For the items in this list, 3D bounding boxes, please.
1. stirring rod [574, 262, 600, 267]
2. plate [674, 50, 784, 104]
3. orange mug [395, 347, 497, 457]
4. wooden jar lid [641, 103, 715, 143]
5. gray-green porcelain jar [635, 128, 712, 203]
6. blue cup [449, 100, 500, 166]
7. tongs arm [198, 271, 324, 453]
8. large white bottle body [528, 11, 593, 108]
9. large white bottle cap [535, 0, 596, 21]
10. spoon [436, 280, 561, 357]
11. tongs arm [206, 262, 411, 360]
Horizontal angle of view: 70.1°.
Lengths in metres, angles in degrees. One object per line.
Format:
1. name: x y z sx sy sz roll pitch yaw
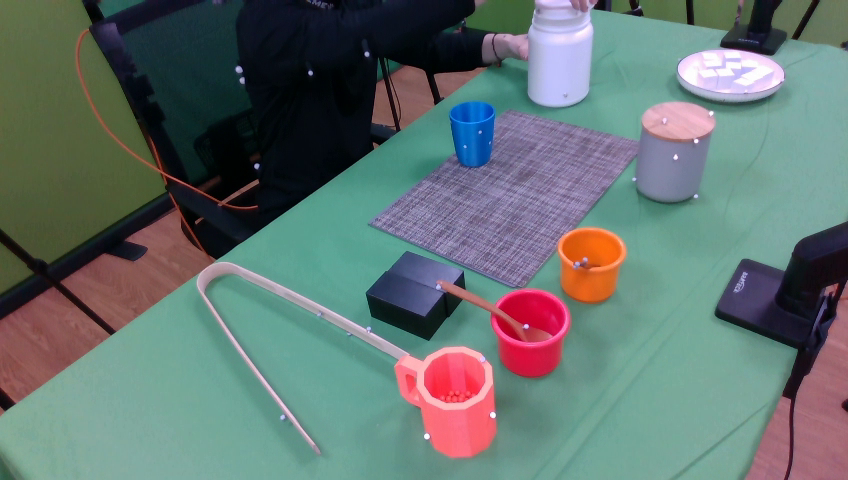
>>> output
1. stirring rod: 0.222 0.033 0.816 0.014 0.006 0.177 7 1 22
2. plate: 0.631 -0.336 1.262 0.207 0.039 0.206 -4 41 4
3. orange mug: 0.024 0.180 0.703 0.125 0.101 0.083 21 48 23
4. wooden jar lid: 0.398 -0.180 0.952 0.108 0.021 0.108 -4 43 4
5. gray-green porcelain jar: 0.404 -0.133 0.992 0.106 0.127 0.105 -4 40 4
6. blue cup: 0.092 -0.194 1.123 0.092 0.100 0.092 -3 40 3
7. tongs arm: -0.236 0.154 0.831 0.028 0.028 0.384 -37 48 -18
8. large white bottle body: 0.282 -0.386 1.260 0.130 0.185 0.130 -4 41 4
9. large white bottle cap: 0.271 -0.459 1.165 0.114 0.018 0.114 -8 45 9
10. spoon: 0.096 0.095 0.757 0.195 0.021 0.041 34 41 -20
11. tongs arm: -0.179 0.106 0.870 0.382 0.027 0.051 23 55 32
